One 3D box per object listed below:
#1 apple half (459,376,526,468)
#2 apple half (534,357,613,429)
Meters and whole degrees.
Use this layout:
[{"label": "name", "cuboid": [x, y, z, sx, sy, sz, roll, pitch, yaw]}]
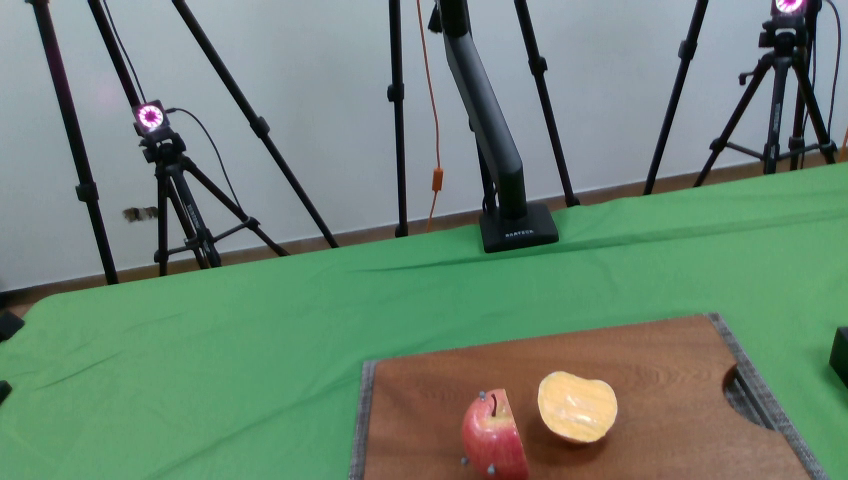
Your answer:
[{"label": "apple half", "cuboid": [0.061, 0.176, 0.572, 0.053, 0.075, 0.080, -17, 36, 1]}, {"label": "apple half", "cuboid": [0.146, 0.159, 0.607, 0.081, 0.033, 0.080, -2, 46, 3]}]
